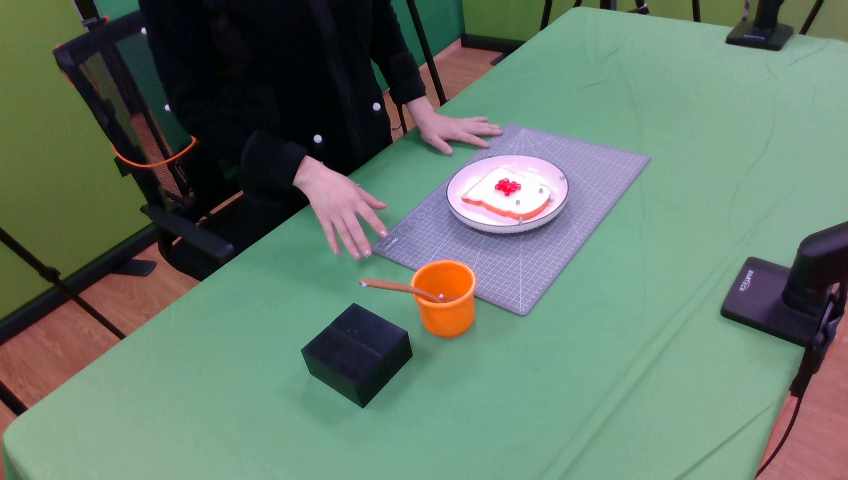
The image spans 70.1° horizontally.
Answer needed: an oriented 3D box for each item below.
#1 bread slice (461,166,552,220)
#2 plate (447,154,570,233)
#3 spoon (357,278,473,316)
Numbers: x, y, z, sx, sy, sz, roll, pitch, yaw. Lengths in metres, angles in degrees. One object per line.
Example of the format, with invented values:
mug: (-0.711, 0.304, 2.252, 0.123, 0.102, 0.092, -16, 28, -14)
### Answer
bread slice: (0.149, -0.079, 1.036, 0.133, 0.018, 0.107, 22, 50, 32)
plate: (0.143, -0.076, 1.032, 0.209, 0.038, 0.208, -5, 40, 5)
spoon: (-0.008, 0.072, 0.804, 0.021, 0.195, 0.041, -54, 41, 17)
